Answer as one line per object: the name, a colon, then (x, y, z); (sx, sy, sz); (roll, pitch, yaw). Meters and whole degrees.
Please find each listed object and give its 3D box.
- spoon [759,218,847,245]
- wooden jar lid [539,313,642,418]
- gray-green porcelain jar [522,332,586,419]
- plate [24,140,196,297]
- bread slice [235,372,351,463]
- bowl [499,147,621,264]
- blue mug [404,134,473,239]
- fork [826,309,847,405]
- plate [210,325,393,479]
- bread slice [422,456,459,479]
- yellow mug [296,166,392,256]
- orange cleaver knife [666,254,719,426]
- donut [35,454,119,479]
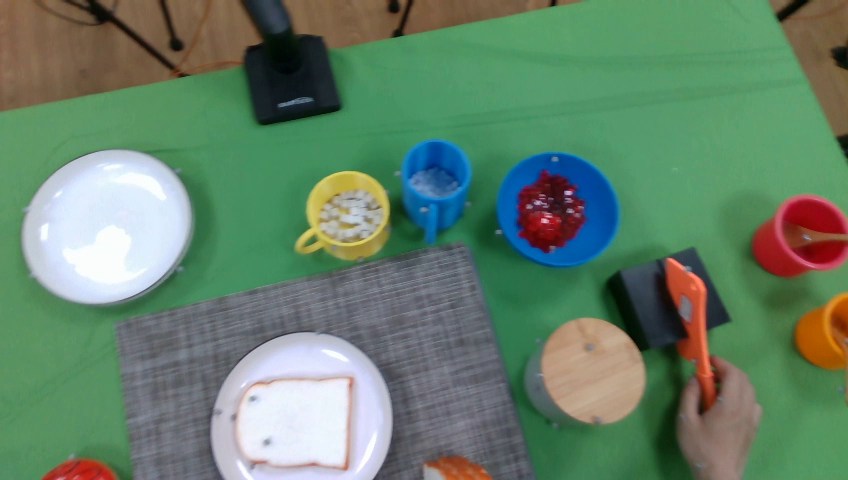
spoon: (0.517, -0.004, 0.743); (0.022, 0.192, 0.041); (47, 65, -35)
wooden jar lid: (0.173, 0.131, 0.634); (0.108, 0.021, 0.108); (1, 74, -4)
gray-green porcelain jar: (0.172, 0.151, 0.693); (0.106, 0.127, 0.105); (1, 73, -2)
plate: (-0.392, -0.026, 0.770); (0.208, 0.039, 0.206); (1, 73, -2)
bread slice: (-0.153, 0.207, 0.709); (0.132, 0.019, 0.104); (1, 72, -5)
bowl: (0.165, -0.034, 0.774); (0.151, 0.077, 0.150); (1, 73, -2)
blue mug: (0.014, -0.058, 0.761); (0.082, 0.106, 0.116); (7, 73, 0)
fork: (0.484, 0.131, 0.699); (0.028, 0.018, 0.207); (49, 33, 5)
plate: (-0.139, 0.205, 0.706); (0.209, 0.038, 0.208); (1, 73, -2)
bread slice: (0.021, 0.284, 0.643); (0.018, 0.135, 0.106); (-4, 71, -11)
yellow mug: (-0.105, -0.028, 0.768); (0.131, 0.064, 0.099); (-34, 77, -10)
orange cleaver knife: (0.322, 0.121, 0.731); (0.012, 0.077, 0.212); (-16, 104, -7)
donut: (-0.388, 0.289, 0.672); (0.099, 0.048, 0.098); (1, 72, -4)
